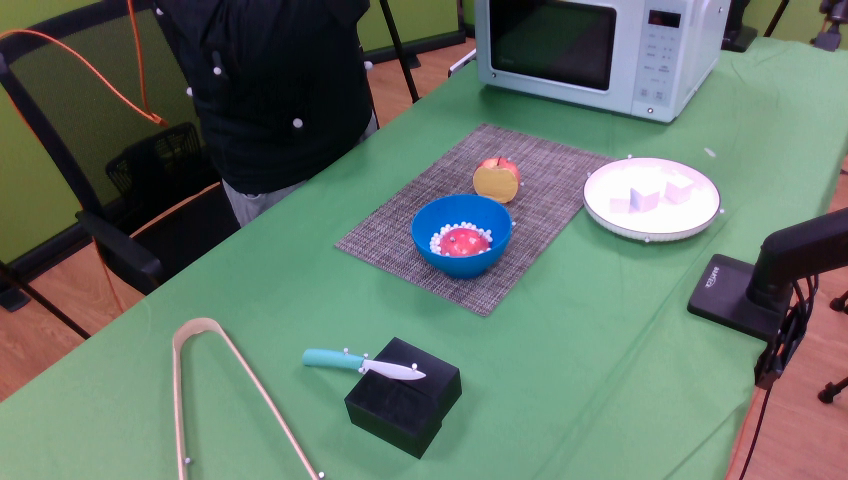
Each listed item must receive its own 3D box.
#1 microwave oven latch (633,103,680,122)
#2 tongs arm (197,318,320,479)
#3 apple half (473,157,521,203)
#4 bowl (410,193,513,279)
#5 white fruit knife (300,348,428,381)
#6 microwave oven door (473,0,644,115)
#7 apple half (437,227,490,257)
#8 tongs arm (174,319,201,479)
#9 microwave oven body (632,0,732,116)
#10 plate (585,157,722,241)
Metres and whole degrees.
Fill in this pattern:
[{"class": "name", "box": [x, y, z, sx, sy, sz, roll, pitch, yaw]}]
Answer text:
[{"class": "microwave oven latch", "box": [0.443, -0.249, 1.157, 0.078, 0.029, 0.030, 20, 48, 30]}, {"class": "tongs arm", "box": [-0.199, 0.207, 0.751, 0.028, 0.028, 0.384, -31, 45, -22]}, {"class": "apple half", "box": [0.128, -0.107, 1.030, 0.080, 0.075, 0.053, 4, 38, 19]}, {"class": "bowl", "box": [0.058, 0.005, 0.905, 0.151, 0.077, 0.150, -4, 40, 4]}, {"class": "white fruit knife", "box": [-0.079, 0.154, 0.748, 0.206, 0.027, 0.016, 1, 20, 34]}, {"class": "microwave oven door", "box": [0.257, -0.396, 1.199, 0.353, 0.245, 0.039, 21, 48, 29]}, {"class": "apple half", "box": [0.056, 0.002, 0.902, 0.081, 0.033, 0.081, -3, 42, 3]}, {"class": "tongs arm", "box": [-0.272, 0.234, 0.723, 0.051, 0.026, 0.381, -19, 40, -15]}, {"class": "microwave oven body", "box": [0.377, -0.463, 1.267, 0.438, 0.261, 0.327, 21, 48, 30]}, {"class": "plate", "box": [0.367, -0.063, 0.979, 0.207, 0.039, 0.206, -4, 41, 4]}]
